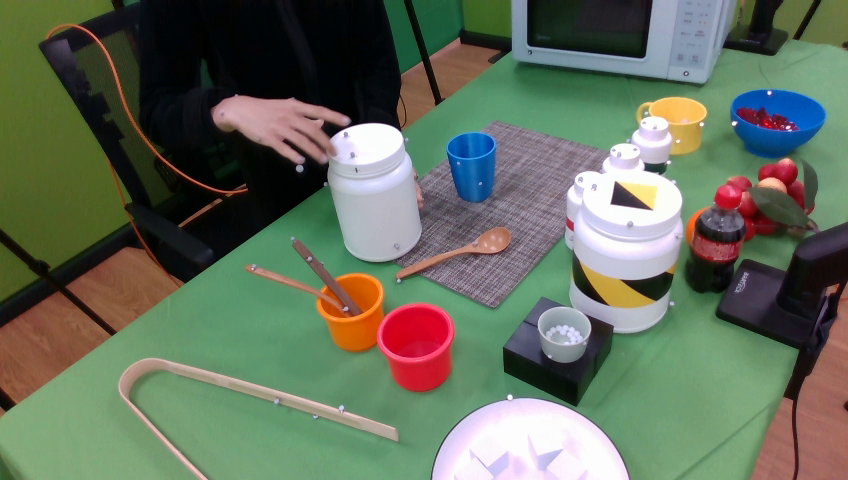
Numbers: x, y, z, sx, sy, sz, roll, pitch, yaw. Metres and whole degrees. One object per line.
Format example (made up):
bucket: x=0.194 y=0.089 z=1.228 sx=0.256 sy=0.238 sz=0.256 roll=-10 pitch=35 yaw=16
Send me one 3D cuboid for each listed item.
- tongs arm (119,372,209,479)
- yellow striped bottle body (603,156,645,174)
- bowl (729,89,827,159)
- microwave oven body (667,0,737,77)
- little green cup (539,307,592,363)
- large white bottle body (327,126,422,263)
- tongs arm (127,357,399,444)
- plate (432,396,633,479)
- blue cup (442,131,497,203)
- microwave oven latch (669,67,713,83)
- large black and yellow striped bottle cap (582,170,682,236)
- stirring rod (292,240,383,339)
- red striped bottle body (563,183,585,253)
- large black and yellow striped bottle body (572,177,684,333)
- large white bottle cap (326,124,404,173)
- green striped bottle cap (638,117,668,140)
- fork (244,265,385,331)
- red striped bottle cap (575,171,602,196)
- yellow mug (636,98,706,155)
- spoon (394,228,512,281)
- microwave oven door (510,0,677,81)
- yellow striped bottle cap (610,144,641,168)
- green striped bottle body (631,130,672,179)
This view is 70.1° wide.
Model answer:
tongs arm: x=-0.258 y=0.257 z=0.700 sx=0.384 sy=0.028 sz=0.028 roll=24 pitch=55 yaw=34
yellow striped bottle body: x=0.313 y=-0.089 z=0.956 sx=0.063 sy=0.121 sz=0.062 roll=-4 pitch=40 yaw=4
bowl: x=0.615 y=-0.197 z=1.069 sx=0.151 sy=0.077 sz=0.150 roll=-5 pitch=40 yaw=5
microwave oven body: x=0.462 y=-0.552 z=1.369 sx=0.439 sy=0.261 sz=0.326 roll=14 pitch=45 yaw=26
little green cup: x=0.169 y=0.115 z=0.721 sx=0.061 sy=0.039 sz=0.061 roll=-4 pitch=42 yaw=4
large white bottle body: x=-0.077 y=-0.071 z=0.939 sx=0.130 sy=0.185 sz=0.130 roll=-4 pitch=40 yaw=4
tongs arm: x=-0.213 y=0.205 z=0.755 sx=0.382 sy=0.026 sz=0.051 roll=12 pitch=46 yaw=23
plate: x=0.112 y=0.261 z=0.634 sx=0.209 sy=0.038 sz=0.208 roll=-5 pitch=40 yaw=4
blue cup: x=0.085 y=-0.121 z=1.039 sx=0.092 sy=0.101 sz=0.092 roll=-5 pitch=41 yaw=5
microwave oven latch: x=0.556 y=-0.349 z=1.261 sx=0.078 sy=0.029 sz=0.030 roll=16 pitch=46 yaw=27
large black and yellow striped bottle cap: x=0.252 y=-0.048 z=0.735 sx=0.115 sy=0.019 sz=0.114 roll=-3 pitch=40 yaw=3
stirring rod: x=-0.118 y=0.068 z=0.825 sx=0.176 sy=0.006 sz=0.014 roll=49 pitch=58 yaw=-3
red striped bottle body: x=0.246 y=-0.041 z=0.910 sx=0.063 sy=0.120 sz=0.062 roll=-2 pitch=38 yaw=2
large black and yellow striped bottle body: x=0.262 y=0.017 z=0.788 sx=0.131 sy=0.185 sz=0.130 roll=-5 pitch=40 yaw=4
large white bottle cap: x=-0.086 y=-0.135 z=0.885 sx=0.115 sy=0.018 sz=0.114 roll=-4 pitch=40 yaw=4
green striped bottle cap: x=0.369 y=-0.180 z=0.974 sx=0.044 sy=0.020 sz=0.044 roll=-4 pitch=41 yaw=4
fork: x=-0.142 y=0.078 z=0.807 sx=0.209 sy=0.018 sz=0.028 roll=30 pitch=32 yaw=-24
red striped bottle cap: x=0.242 y=-0.081 z=0.876 sx=0.044 sy=0.018 sz=0.044 roll=-5 pitch=44 yaw=5
yellow mug: x=0.453 y=-0.218 z=1.129 sx=0.100 sy=0.064 sz=0.129 roll=-35 pitch=46 yaw=-26
spoon: x=0.045 y=0.024 z=0.935 sx=0.194 sy=0.022 sz=0.041 roll=-18 pitch=66 yaw=-11
microwave oven door: x=0.354 y=-0.478 z=1.291 sx=0.353 sy=0.245 sz=0.039 roll=15 pitch=45 yaw=25
yellow striped bottle cap: x=0.307 y=-0.128 z=0.923 sx=0.044 sy=0.019 sz=0.044 roll=-6 pitch=39 yaw=5
green striped bottle body: x=0.375 y=-0.140 z=1.007 sx=0.063 sy=0.120 sz=0.063 roll=-5 pitch=40 yaw=5
